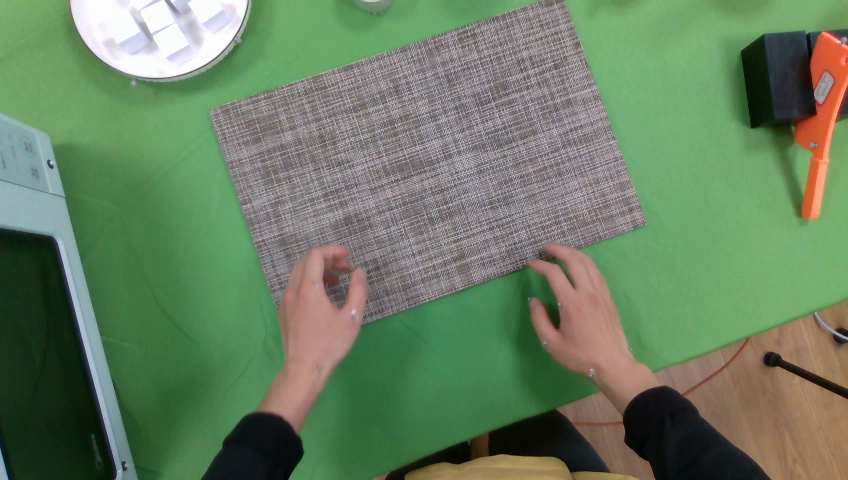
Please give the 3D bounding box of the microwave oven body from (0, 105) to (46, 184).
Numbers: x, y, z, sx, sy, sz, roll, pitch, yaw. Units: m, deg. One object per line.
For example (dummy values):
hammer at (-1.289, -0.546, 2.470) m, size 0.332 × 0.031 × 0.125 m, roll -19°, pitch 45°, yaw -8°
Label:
microwave oven body at (-0.526, 0.109, 0.568) m, size 0.326 × 0.260 × 0.441 m, roll -16°, pitch 88°, yaw -3°

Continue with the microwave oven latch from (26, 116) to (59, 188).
microwave oven latch at (-0.436, -0.096, 0.677) m, size 0.030 × 0.029 × 0.079 m, roll -14°, pitch 88°, yaw -3°

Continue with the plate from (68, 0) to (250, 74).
plate at (-0.305, -0.293, 0.711) m, size 0.208 × 0.039 × 0.207 m, roll 0°, pitch 87°, yaw -2°

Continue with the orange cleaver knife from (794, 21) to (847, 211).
orange cleaver knife at (0.453, -0.140, 0.702) m, size 0.012 × 0.076 × 0.213 m, roll -4°, pitch 116°, yaw 1°

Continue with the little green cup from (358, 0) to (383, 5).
little green cup at (-0.065, -0.313, 0.718) m, size 0.061 × 0.038 × 0.061 m, roll 0°, pitch 86°, yaw -1°

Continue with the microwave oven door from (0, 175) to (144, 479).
microwave oven door at (-0.373, 0.108, 0.567) m, size 0.039 × 0.244 × 0.355 m, roll -17°, pitch 87°, yaw -2°
